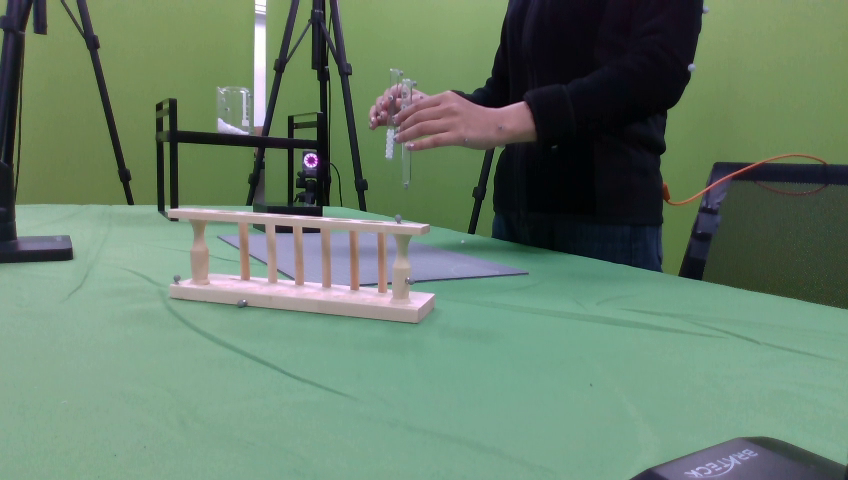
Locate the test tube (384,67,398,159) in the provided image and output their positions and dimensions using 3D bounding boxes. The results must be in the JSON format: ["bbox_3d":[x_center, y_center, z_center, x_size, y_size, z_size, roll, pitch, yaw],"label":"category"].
[{"bbox_3d":[-0.055,-0.209,1.002,0.017,0.150,0.017,5,18,-1],"label":"test tube"}]

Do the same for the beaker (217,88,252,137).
[{"bbox_3d":[-0.412,-0.276,1.310,0.074,0.100,0.084,4,8,16],"label":"beaker"}]

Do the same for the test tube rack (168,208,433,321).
[{"bbox_3d":[-0.115,0.017,0.574,0.242,0.085,0.067,4,8,13],"label":"test tube rack"}]

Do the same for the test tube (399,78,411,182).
[{"bbox_3d":[-0.028,-0.159,0.875,0.017,0.150,0.017,1,4,0],"label":"test tube"}]
